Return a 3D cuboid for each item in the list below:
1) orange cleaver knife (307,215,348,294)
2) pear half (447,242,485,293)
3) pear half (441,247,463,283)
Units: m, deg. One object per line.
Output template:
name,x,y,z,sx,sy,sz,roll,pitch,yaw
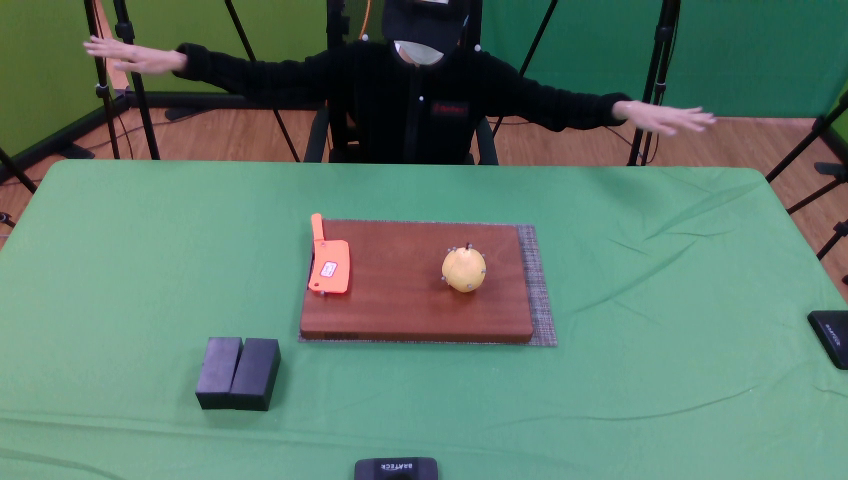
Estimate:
orange cleaver knife,-0.180,0.023,1.126,0.077,0.012,0.210,-6,44,-6
pear half,0.080,0.047,1.059,0.056,0.110,0.076,24,54,19
pear half,0.050,0.039,1.079,0.031,0.088,0.070,24,54,17
